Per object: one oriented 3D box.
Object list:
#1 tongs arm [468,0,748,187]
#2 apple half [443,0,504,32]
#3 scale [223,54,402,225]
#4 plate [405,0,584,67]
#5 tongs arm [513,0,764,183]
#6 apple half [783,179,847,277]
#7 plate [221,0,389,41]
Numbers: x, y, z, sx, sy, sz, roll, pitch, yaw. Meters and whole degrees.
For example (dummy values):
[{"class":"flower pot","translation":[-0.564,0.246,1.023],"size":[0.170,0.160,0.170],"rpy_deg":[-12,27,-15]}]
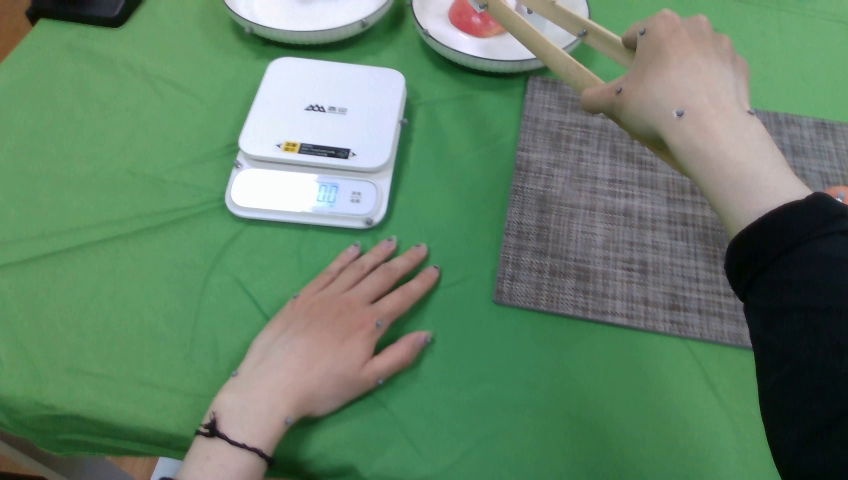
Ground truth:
[{"class":"tongs arm","translation":[0.124,-0.162,0.534],"size":[0.028,0.028,0.383],"rpy_deg":[-21,48,-16]},{"class":"apple half","translation":[0.064,-0.282,0.718],"size":[0.081,0.033,0.080],"rpy_deg":[0,52,1]},{"class":"scale","translation":[-0.104,-0.105,0.597],"size":[0.148,0.032,0.199],"rpy_deg":[5,56,2]},{"class":"plate","translation":[0.082,-0.270,0.717],"size":[0.209,0.038,0.207],"rpy_deg":[1,55,-1]},{"class":"tongs arm","translation":[0.144,-0.171,0.539],"size":[0.051,0.027,0.380],"rpy_deg":[-27,49,-17]},{"class":"apple half","translation":[0.342,-0.004,0.516],"size":[0.053,0.075,0.080],"rpy_deg":[-24,62,-13]},{"class":"plate","translation":[-0.140,-0.303,0.731],"size":[0.208,0.039,0.205],"rpy_deg":[1,55,-1]}]
